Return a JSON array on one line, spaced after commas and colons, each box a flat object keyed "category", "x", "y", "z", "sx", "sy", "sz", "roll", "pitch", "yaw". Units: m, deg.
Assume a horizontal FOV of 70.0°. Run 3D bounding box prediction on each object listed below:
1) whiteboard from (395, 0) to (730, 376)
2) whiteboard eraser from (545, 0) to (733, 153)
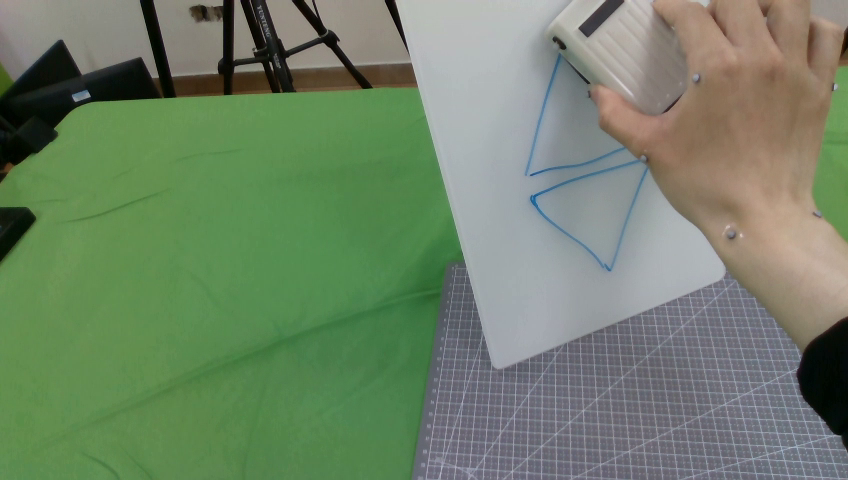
[{"category": "whiteboard", "x": 0.102, "y": -0.086, "z": 0.492, "sx": 0.217, "sy": 0.308, "sz": 0.142, "roll": -20, "pitch": 25, "yaw": -8}, {"category": "whiteboard eraser", "x": 0.133, "y": -0.112, "z": 0.382, "sx": 0.055, "sy": 0.113, "sz": 0.042, "roll": -45, "pitch": 2, "yaw": 11}]
